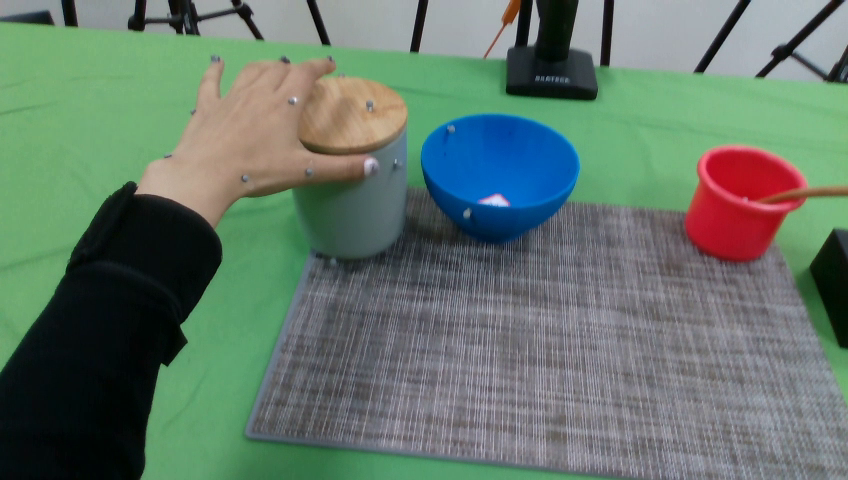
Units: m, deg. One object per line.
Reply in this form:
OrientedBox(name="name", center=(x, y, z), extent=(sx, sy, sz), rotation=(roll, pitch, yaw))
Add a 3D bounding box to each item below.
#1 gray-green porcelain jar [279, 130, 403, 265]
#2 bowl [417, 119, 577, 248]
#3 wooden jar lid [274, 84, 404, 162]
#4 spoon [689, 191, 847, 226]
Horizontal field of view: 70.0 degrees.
OrientedBox(name="gray-green porcelain jar", center=(-0.072, -0.049, 0.555), extent=(0.106, 0.127, 0.105), rotation=(1, 43, -1))
OrientedBox(name="bowl", center=(0.067, -0.045, 0.594), extent=(0.151, 0.077, 0.150), rotation=(1, 43, -1))
OrientedBox(name="wooden jar lid", center=(-0.071, -0.097, 0.511), extent=(0.108, 0.021, 0.107), rotation=(2, 42, -2))
OrientedBox(name="spoon", center=(0.323, -0.031, 0.543), extent=(0.041, 0.193, 0.021), rotation=(-26, 96, -24))
